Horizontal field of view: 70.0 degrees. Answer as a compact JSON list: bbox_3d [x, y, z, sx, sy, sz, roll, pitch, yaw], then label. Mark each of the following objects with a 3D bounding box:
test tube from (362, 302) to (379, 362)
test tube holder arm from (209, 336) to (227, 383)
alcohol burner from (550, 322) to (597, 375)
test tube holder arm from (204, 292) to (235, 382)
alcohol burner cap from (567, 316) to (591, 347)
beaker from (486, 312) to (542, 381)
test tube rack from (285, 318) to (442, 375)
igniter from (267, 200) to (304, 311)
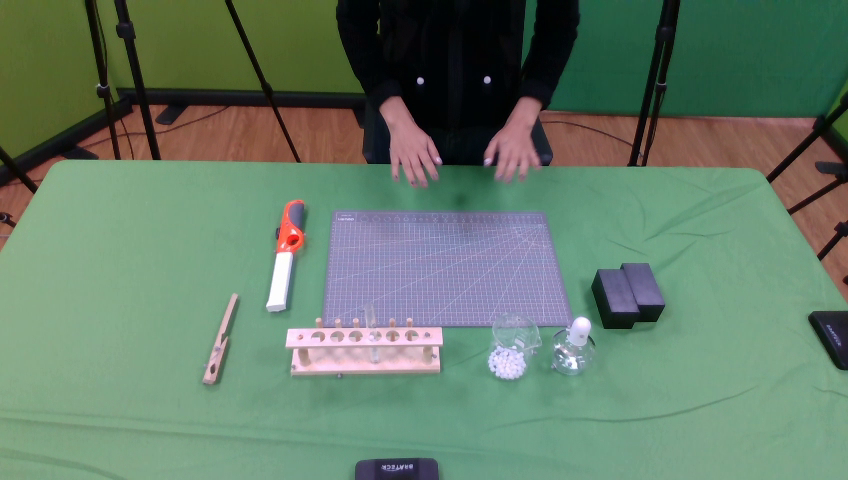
[{"bbox_3d":[-0.082,0.146,0.939,0.017,0.151,0.017,0,48,1],"label":"test tube"},{"bbox_3d":[-0.338,0.193,0.991,0.010,0.015,0.087,28,39,-26],"label":"test tube holder arm"},{"bbox_3d":[0.248,0.168,0.991,0.078,0.119,0.077,2,48,-2],"label":"alcohol burner"},{"bbox_3d":[-0.343,0.159,1.020,0.013,0.015,0.177,27,39,-27],"label":"test tube holder arm"},{"bbox_3d":[0.249,0.143,0.965,0.034,0.048,0.033,4,40,-3],"label":"alcohol burner cap"},{"bbox_3d":[0.144,0.177,0.985,0.084,0.101,0.074,22,49,16],"label":"beaker"},{"bbox_3d":[-0.095,0.168,0.986,0.242,0.085,0.066,0,46,-4],"label":"test tube rack"},{"bbox_3d":[-0.263,0.020,1.156,0.057,0.025,0.274,-6,46,4],"label":"igniter"}]
